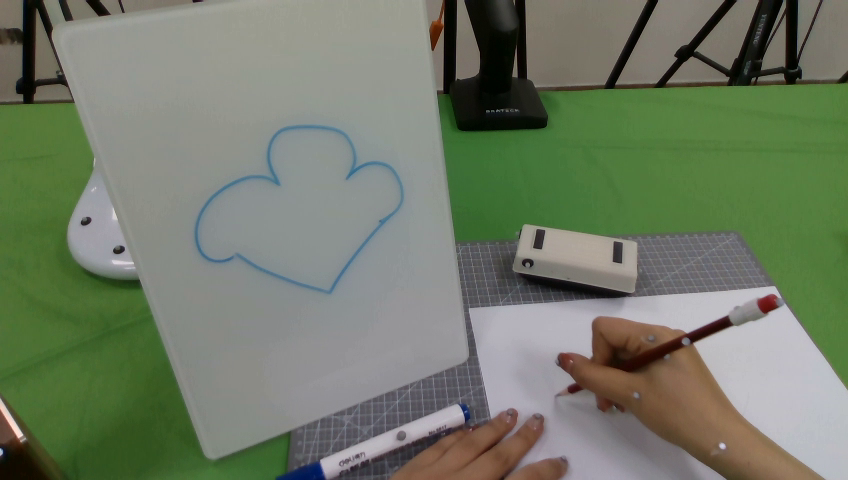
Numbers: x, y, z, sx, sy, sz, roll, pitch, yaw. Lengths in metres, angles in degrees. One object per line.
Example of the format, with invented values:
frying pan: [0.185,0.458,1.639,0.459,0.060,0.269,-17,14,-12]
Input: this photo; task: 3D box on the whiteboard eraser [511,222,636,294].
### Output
whiteboard eraser: [0.143,0.018,0.577,0.112,0.042,0.055,10,44,10]

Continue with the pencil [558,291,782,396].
pencil: [0.154,0.079,0.414,0.012,0.194,0.012,16,54,-23]

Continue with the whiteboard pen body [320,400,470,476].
whiteboard pen body: [-0.031,0.147,0.440,0.141,0.017,0.017,-17,45,-18]

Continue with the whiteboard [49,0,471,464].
whiteboard: [-0.105,-0.027,0.470,0.218,0.307,0.142,-17,26,-18]

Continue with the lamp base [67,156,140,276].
lamp base: [-0.287,-0.083,0.577,0.178,0.182,0.160,26,47,28]

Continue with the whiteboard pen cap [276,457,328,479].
whiteboard pen cap: [-0.084,0.164,0.421,0.033,0.018,0.018,-18,45,-18]

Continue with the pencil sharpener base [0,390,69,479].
pencil sharpener base: [-0.271,0.153,0.369,0.061,0.108,0.076,33,51,30]
